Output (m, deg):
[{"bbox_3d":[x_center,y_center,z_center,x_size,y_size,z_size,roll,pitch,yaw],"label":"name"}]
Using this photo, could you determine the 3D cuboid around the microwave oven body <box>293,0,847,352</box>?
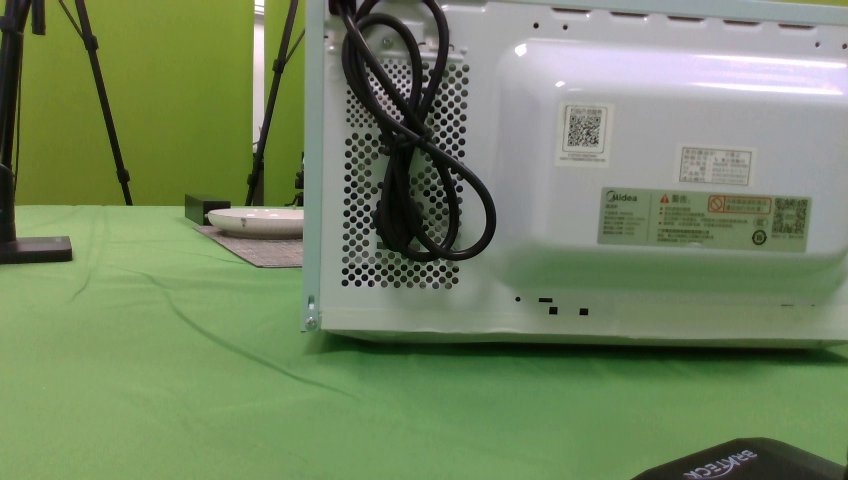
[{"bbox_3d":[0.122,-0.055,0.550,0.442,0.260,0.325,3,7,-5],"label":"microwave oven body"}]

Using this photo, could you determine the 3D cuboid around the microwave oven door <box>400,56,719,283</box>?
[{"bbox_3d":[0.155,-0.077,0.698,0.356,0.243,0.039,2,8,-5],"label":"microwave oven door"}]

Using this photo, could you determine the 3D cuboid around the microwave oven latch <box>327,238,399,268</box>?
[{"bbox_3d":[-0.069,0.015,0.694,0.079,0.029,0.030,3,7,-3],"label":"microwave oven latch"}]

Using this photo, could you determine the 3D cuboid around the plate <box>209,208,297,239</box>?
[{"bbox_3d":[-0.271,-0.029,1.074,0.208,0.039,0.207,3,7,0],"label":"plate"}]
